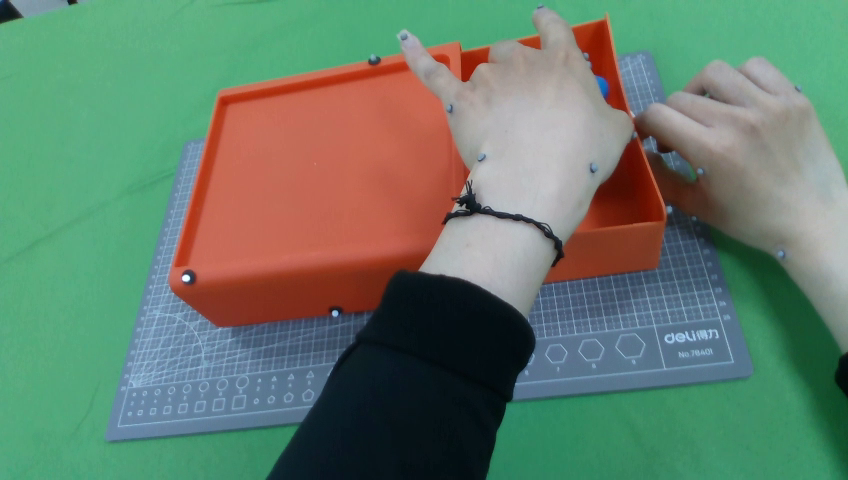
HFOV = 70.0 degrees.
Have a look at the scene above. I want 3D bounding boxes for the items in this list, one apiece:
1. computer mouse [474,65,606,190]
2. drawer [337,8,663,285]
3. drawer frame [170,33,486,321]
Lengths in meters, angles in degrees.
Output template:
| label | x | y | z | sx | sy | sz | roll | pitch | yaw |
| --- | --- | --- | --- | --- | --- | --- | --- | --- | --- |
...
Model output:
| label | x | y | z | sx | sy | sz | roll | pitch | yaw |
| --- | --- | --- | --- | --- | --- | --- | --- | --- | --- |
| computer mouse | 0.081 | -0.084 | 0.414 | 0.062 | 0.041 | 0.116 | 14 | 54 | 24 |
| drawer | 0.049 | -0.065 | 0.452 | 0.211 | 0.074 | 0.192 | -8 | 57 | 11 |
| drawer frame | -0.063 | -0.048 | 0.472 | 0.213 | 0.083 | 0.199 | -9 | 57 | 12 |
